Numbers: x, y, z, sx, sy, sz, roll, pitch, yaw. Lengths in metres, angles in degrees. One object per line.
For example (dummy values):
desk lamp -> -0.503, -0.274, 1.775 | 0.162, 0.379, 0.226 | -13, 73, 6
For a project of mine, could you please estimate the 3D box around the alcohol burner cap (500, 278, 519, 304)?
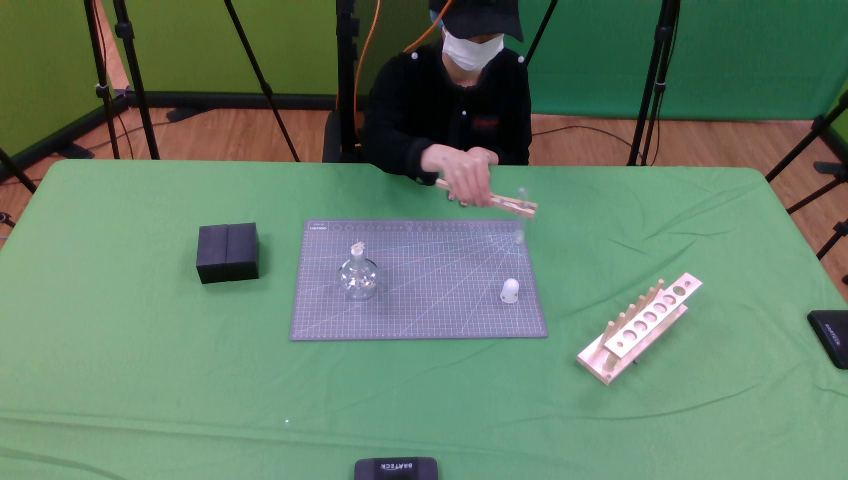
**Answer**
alcohol burner cap -> 0.157, 0.090, 1.104 | 0.034, 0.048, 0.033 | 2, 46, -2

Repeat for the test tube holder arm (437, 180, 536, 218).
test tube holder arm -> 0.104, -0.071, 1.029 | 0.178, 0.015, 0.013 | 18, 53, 17

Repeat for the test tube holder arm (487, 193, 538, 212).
test tube holder arm -> 0.148, -0.063, 1.020 | 0.087, 0.015, 0.010 | 12, 52, 12

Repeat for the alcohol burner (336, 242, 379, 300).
alcohol burner -> -0.118, 0.050, 1.072 | 0.078, 0.120, 0.077 | 2, 44, -1

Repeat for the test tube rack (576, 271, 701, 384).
test tube rack -> 0.373, 0.138, 1.047 | 0.242, 0.085, 0.066 | -31, 56, -29

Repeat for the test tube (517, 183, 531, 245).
test tube -> 0.169, -0.041, 1.029 | 0.017, 0.151, 0.017 | -2, 52, 3
